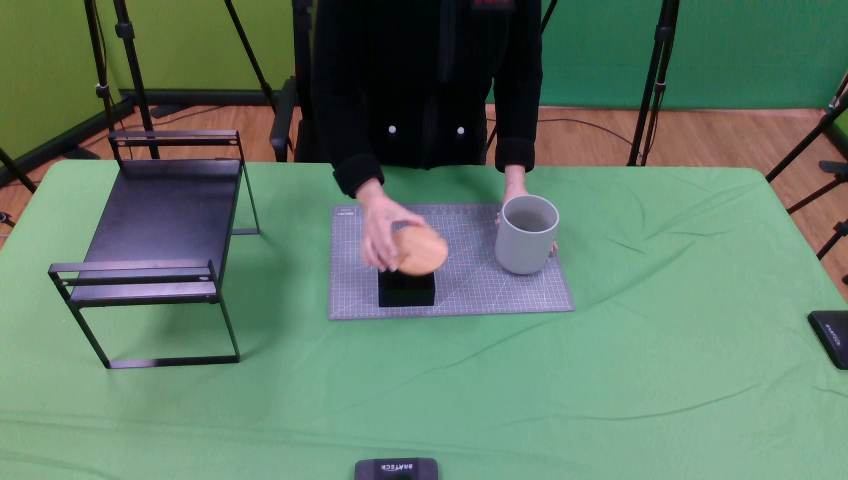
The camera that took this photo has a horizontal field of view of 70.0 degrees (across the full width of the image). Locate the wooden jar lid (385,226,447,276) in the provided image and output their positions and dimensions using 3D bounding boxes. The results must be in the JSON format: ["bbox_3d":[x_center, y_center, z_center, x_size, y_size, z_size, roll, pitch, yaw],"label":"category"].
[{"bbox_3d":[-0.015,0.020,1.063,0.108,0.021,0.107,5,50,-5],"label":"wooden jar lid"}]

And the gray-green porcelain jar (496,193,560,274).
[{"bbox_3d":[0.191,-0.007,1.140,0.106,0.127,0.105,2,47,-2],"label":"gray-green porcelain jar"}]
